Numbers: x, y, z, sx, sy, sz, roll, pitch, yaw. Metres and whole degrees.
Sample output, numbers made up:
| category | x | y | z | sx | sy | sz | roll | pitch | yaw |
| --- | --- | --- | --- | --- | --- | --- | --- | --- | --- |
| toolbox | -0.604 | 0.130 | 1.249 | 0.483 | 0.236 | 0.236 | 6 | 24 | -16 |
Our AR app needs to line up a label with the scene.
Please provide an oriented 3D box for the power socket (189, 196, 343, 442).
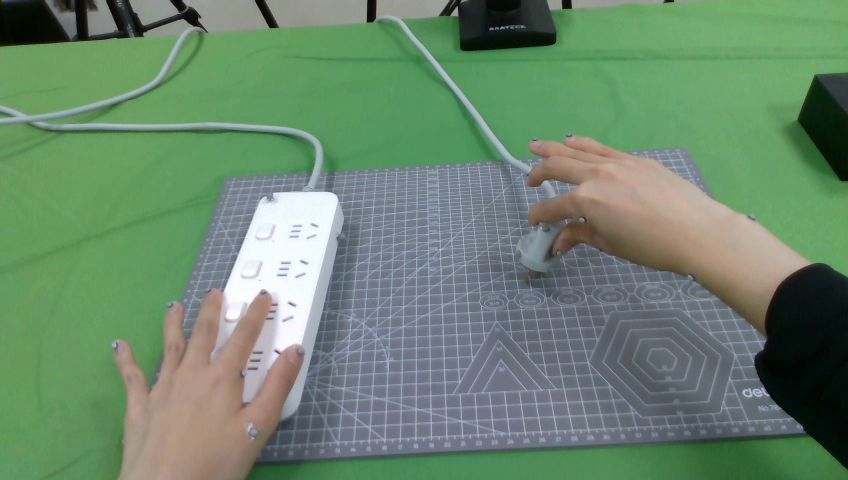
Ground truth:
| category | x | y | z | sx | sy | sz | roll | pitch | yaw |
| --- | --- | --- | --- | --- | --- | --- | --- | --- | --- |
| power socket | -0.113 | 0.044 | 0.466 | 0.072 | 0.033 | 0.224 | 0 | 44 | 5 |

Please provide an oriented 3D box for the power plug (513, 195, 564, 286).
| category | x | y | z | sx | sy | sz | roll | pitch | yaw |
| --- | --- | --- | --- | --- | --- | --- | --- | --- | --- |
| power plug | 0.098 | 0.004 | 0.478 | 0.035 | 0.053 | 0.072 | 33 | 42 | 20 |
